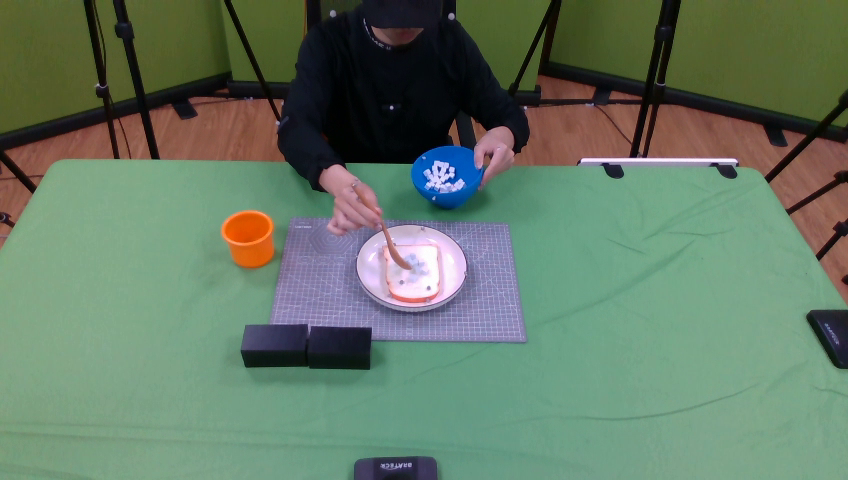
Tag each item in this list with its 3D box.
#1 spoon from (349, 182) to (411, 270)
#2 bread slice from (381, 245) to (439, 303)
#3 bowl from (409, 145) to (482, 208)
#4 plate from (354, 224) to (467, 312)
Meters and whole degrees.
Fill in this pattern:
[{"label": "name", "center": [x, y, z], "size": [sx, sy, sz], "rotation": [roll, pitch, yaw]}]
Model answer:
[{"label": "spoon", "center": [-0.075, -0.022, 1.052], "size": [0.021, 0.194, 0.041], "rotation": [-35, 23, -15]}, {"label": "bread slice", "center": [-0.022, 0.061, 1.126], "size": [0.107, 0.018, 0.133], "rotation": [-3, 45, -8]}, {"label": "bowl", "center": [0.049, -0.120, 1.261], "size": [0.151, 0.077, 0.150], "rotation": [-5, 47, 6]}, {"label": "plate", "center": [-0.025, 0.055, 1.128], "size": [0.209, 0.038, 0.208], "rotation": [3, 46, -2]}]
